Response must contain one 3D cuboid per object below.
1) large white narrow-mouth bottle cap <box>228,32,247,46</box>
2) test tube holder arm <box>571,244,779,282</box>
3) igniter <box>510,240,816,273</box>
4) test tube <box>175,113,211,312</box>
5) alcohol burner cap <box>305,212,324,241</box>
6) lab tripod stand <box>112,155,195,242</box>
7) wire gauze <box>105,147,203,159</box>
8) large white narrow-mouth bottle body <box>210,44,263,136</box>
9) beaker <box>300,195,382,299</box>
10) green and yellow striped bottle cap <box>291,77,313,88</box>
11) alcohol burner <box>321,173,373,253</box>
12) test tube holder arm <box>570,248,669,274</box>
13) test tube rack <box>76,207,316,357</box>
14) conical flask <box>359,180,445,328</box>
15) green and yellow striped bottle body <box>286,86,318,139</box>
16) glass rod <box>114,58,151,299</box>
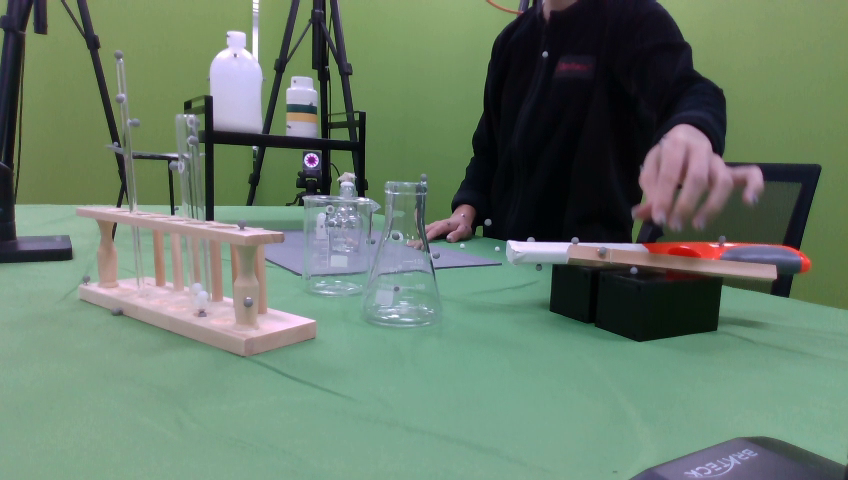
[{"bbox_3d":[-0.364,-0.391,1.180,0.038,0.024,0.037,3,8,0],"label":"large white narrow-mouth bottle cap"},{"bbox_3d":[0.217,0.021,0.525,0.178,0.015,0.013,5,-21,2],"label":"test tube holder arm"},{"bbox_3d":[0.220,0.015,0.566,0.277,0.025,0.057,2,16,0],"label":"igniter"},{"bbox_3d":[-0.174,-0.020,0.458,0.017,0.150,0.017,-2,5,1],"label":"test tube"},{"bbox_3d":[-0.185,-0.023,1.027,0.034,0.048,0.034,2,6,0],"label":"alcohol burner cap"},{"bbox_3d":[-0.405,-0.064,0.931,0.148,0.131,0.148,1,6,0],"label":"lab tripod stand"},{"bbox_3d":[-0.407,-0.131,0.928,0.125,0.011,0.121,2,6,-11],"label":"wire gauze"},{"bbox_3d":[-0.369,-0.305,1.194,0.102,0.194,0.102,3,8,0],"label":"large white narrow-mouth bottle body"},{"bbox_3d":[-0.087,0.006,0.626,0.084,0.100,0.074,1,8,-17],"label":"beaker"},{"bbox_3d":[-0.249,-0.321,1.237,0.045,0.020,0.045,3,5,0],"label":"green and yellow striped bottle cap"},{"bbox_3d":[-0.115,-0.041,0.905,0.078,0.119,0.078,1,6,0],"label":"alcohol burner"},{"bbox_3d":[0.172,0.019,0.531,0.088,0.015,0.010,5,-21,2],"label":"test tube holder arm"},{"bbox_3d":[-0.196,0.023,0.500,0.241,0.085,0.067,8,9,36],"label":"test tube rack"},{"bbox_3d":[-0.017,0.010,0.522,0.075,0.122,0.075,2,7,0],"label":"conical flask"},{"bbox_3d":[-0.251,-0.270,1.245,0.063,0.119,0.063,2,7,0],"label":"green and yellow striped bottle body"},{"bbox_3d":[-0.236,-0.044,0.492,0.008,0.199,0.008,0,15,0],"label":"glass rod"}]
